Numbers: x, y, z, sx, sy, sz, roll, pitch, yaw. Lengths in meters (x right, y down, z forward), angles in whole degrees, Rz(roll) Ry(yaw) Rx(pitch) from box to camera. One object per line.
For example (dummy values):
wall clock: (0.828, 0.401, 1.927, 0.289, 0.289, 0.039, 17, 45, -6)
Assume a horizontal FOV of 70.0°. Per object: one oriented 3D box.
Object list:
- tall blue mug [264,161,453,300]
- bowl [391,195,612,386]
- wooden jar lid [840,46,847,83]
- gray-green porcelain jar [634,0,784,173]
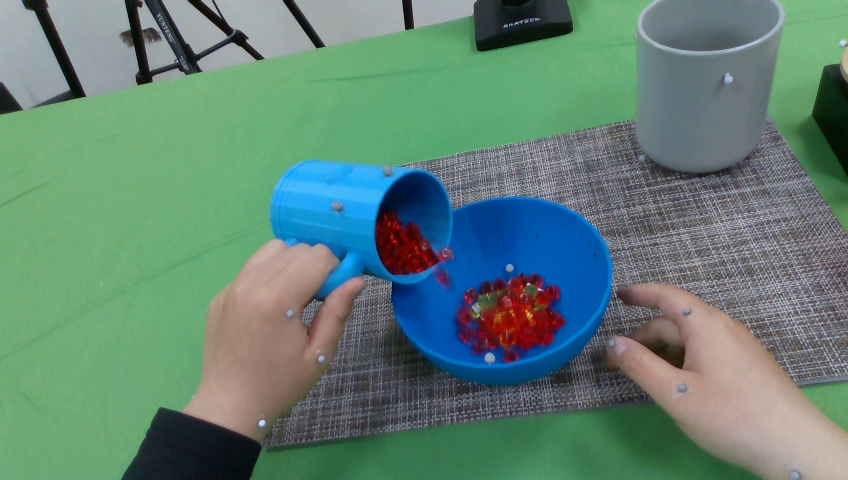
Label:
tall blue mug: (-0.051, -0.001, 0.421, 0.107, 0.078, 0.107, 10, 74, 41)
bowl: (0.058, 0.047, 0.433, 0.151, 0.077, 0.150, -9, 45, 10)
wooden jar lid: (0.386, -0.132, 0.472, 0.108, 0.021, 0.107, -10, 45, 11)
gray-green porcelain jar: (0.232, -0.128, 0.510, 0.106, 0.128, 0.105, -9, 46, 10)
